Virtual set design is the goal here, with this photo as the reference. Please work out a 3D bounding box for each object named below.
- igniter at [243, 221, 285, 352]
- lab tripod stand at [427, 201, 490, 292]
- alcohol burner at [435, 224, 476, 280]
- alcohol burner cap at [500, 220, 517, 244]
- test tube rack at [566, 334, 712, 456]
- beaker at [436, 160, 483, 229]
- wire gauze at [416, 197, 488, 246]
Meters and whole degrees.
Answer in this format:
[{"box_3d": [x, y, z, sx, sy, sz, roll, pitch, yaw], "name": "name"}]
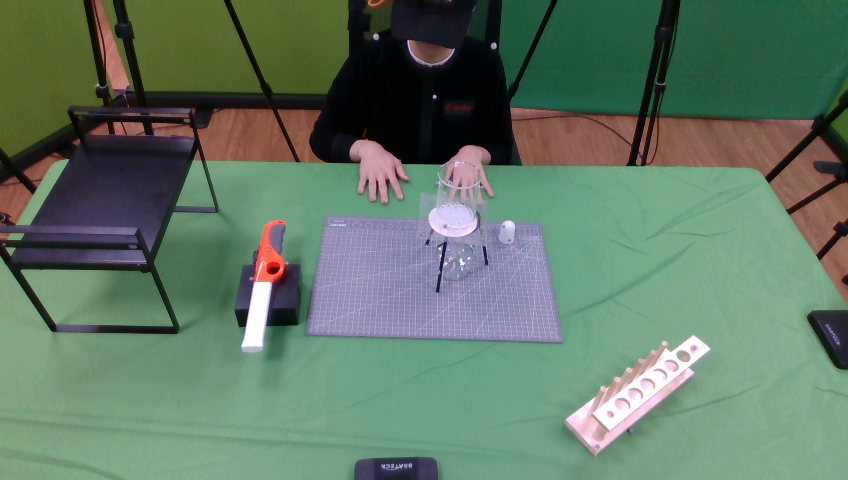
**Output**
[{"box_3d": [-0.273, 0.068, 1.041, 0.057, 0.025, 0.274, 2, 48, -5], "name": "igniter"}, {"box_3d": [0.053, 0.003, 1.114, 0.148, 0.132, 0.147, 0, 46, 0], "name": "lab tripod stand"}, {"box_3d": [0.060, 0.017, 1.114, 0.078, 0.119, 0.077, 3, 44, -2], "name": "alcohol burner"}, {"box_3d": [0.170, -0.018, 1.205, 0.034, 0.048, 0.033, 1, 46, 0], "name": "alcohol burner cap"}, {"box_3d": [0.339, 0.228, 0.951, 0.242, 0.085, 0.066, -26, 52, -26], "name": "test tube rack"}, {"box_3d": [0.057, -0.077, 1.032, 0.074, 0.101, 0.083, -4, 44, -8], "name": "beaker"}, {"box_3d": [0.051, -0.037, 1.062, 0.125, 0.011, 0.121, 3, 42, 4], "name": "wire gauze"}]
